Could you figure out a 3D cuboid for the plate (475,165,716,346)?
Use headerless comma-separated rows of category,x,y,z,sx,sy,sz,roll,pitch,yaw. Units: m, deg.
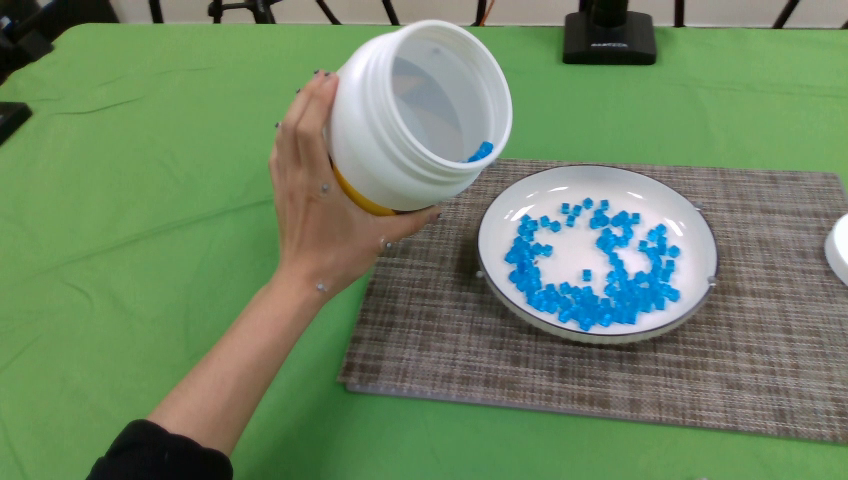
plate,0.150,0.012,0.549,0.207,0.039,0.205,-3,47,4

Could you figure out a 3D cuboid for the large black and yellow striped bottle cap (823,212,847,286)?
large black and yellow striped bottle cap,0.416,0.016,0.531,0.115,0.019,0.114,-1,48,1

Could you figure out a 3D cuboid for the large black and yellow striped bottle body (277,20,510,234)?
large black and yellow striped bottle body,-0.029,-0.084,0.490,0.130,0.131,0.183,-47,15,-31
